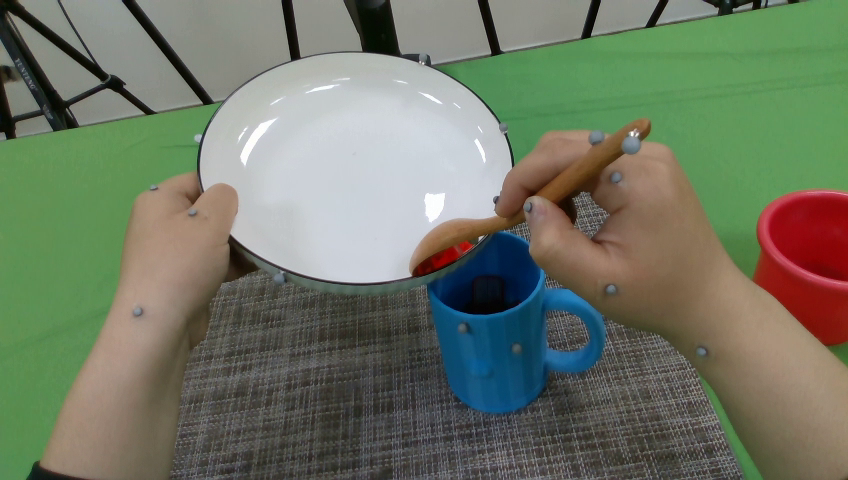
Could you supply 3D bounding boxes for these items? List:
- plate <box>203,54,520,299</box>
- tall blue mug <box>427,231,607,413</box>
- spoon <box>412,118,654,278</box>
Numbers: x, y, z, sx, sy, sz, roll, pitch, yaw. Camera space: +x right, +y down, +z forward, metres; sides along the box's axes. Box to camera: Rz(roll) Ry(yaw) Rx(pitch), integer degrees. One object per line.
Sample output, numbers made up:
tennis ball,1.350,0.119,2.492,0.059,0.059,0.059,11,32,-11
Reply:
plate,-0.040,-0.046,0.415,0.208,0.039,0.205,3,55,-4
tall blue mug,0.062,0.055,0.418,0.107,0.109,0.077,-14,43,-2
spoon,0.041,-0.013,0.295,0.041,0.022,0.193,-38,5,-30
